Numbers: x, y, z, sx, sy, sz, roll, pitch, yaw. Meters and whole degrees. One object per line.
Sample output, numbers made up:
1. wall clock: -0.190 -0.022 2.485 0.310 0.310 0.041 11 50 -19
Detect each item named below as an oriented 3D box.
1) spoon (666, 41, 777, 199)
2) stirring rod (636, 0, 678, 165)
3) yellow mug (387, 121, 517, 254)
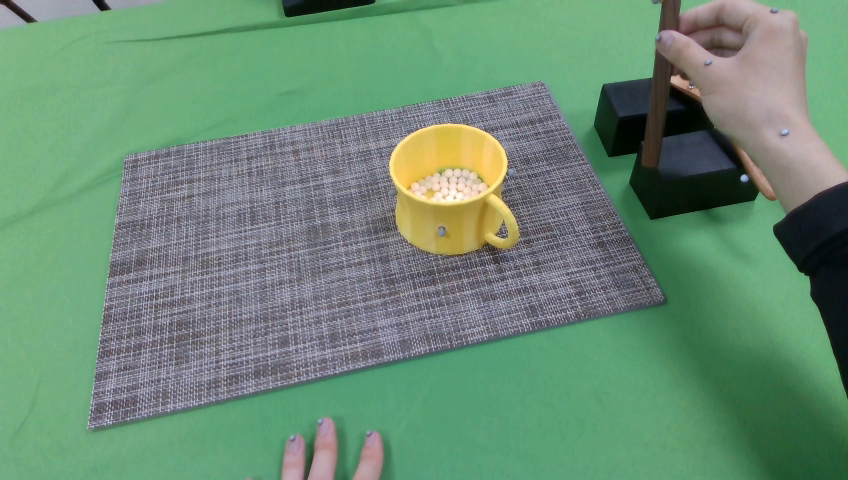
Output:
1. spoon: 0.257 -0.112 0.538 0.042 0.022 0.191 -11 54 -6
2. stirring rod: 0.181 -0.142 0.464 0.014 0.177 0.006 17 32 33
3. yellow mug: 0.031 -0.038 0.522 0.100 0.064 0.129 -38 59 -24
